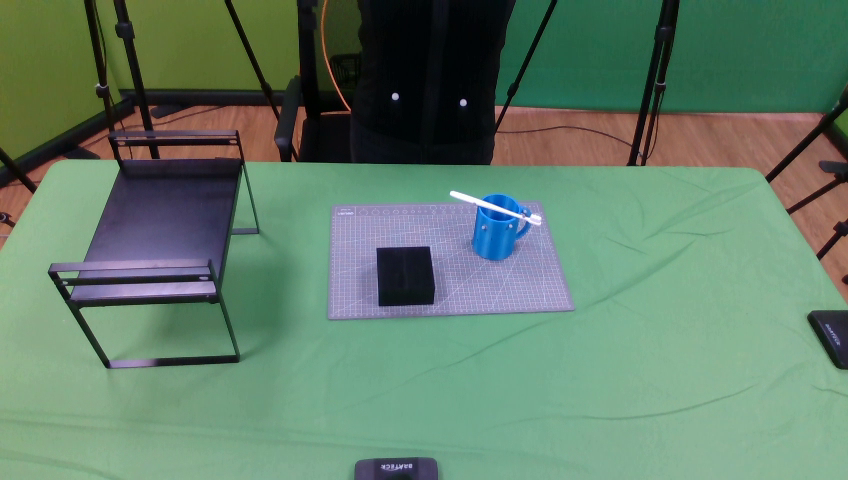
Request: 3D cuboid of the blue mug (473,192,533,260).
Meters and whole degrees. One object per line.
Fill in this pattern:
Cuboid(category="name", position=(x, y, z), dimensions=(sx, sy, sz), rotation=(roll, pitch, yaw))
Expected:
Cuboid(category="blue mug", position=(0.156, -0.029, 1.173), dimensions=(0.117, 0.106, 0.082), rotation=(-8, 47, -12))

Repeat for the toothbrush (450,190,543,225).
Cuboid(category="toothbrush", position=(0.133, -0.063, 1.123), dimensions=(0.181, 0.017, 0.014), rotation=(19, 53, 14))
